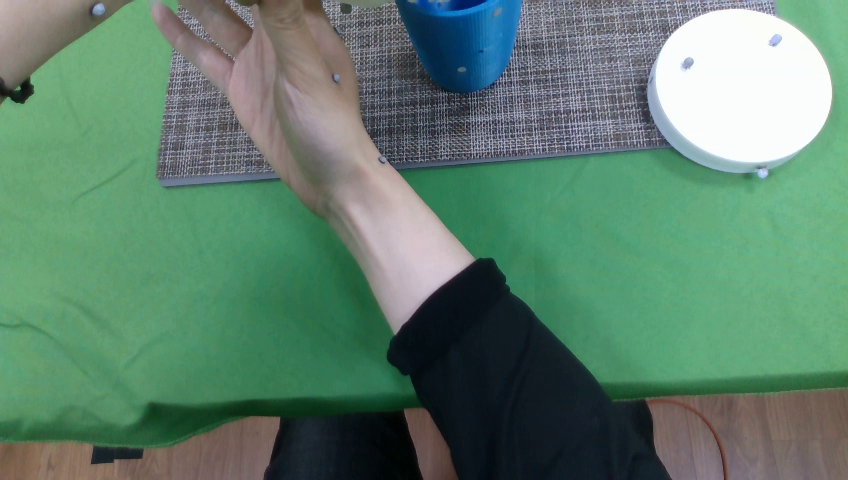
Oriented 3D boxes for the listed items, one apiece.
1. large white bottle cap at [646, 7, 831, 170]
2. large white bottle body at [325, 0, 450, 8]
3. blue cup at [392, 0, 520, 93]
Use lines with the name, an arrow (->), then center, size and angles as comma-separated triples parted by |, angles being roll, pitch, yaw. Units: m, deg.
large white bottle cap -> 0.209, -0.103, 0.405 | 0.115, 0.018, 0.114 | -1, 75, 3
large white bottle body -> -0.066, -0.186, 0.284 | 0.185, 0.131, 0.130 | 6, 72, -13
blue cup -> 0.024, -0.149, 0.397 | 0.092, 0.101, 0.092 | -3, 71, 8
